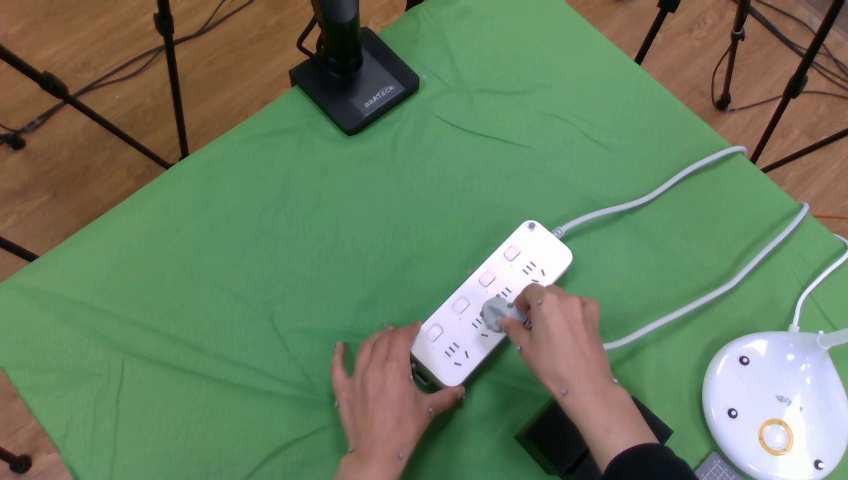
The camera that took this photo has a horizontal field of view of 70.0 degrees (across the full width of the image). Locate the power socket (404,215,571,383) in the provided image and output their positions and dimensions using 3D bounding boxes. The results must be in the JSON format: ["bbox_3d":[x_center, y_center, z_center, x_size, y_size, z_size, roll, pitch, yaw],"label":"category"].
[{"bbox_3d":[0.072,0.061,0.659,0.072,0.033,0.226,44,72,10],"label":"power socket"}]

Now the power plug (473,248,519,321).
[{"bbox_3d":[0.076,0.050,0.619,0.035,0.052,0.072,42,54,-23],"label":"power plug"}]

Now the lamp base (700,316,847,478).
[{"bbox_3d":[0.383,0.130,0.581,0.160,0.181,0.178,19,66,3],"label":"lamp base"}]
